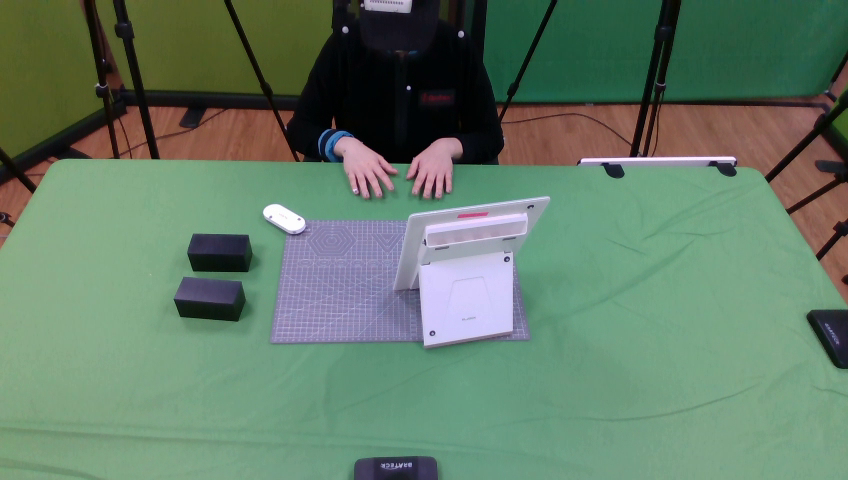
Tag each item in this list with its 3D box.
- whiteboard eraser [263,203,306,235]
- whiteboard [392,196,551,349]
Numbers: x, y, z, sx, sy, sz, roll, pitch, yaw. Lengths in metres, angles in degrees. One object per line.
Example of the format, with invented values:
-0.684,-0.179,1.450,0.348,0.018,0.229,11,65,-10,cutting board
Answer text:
-0.281,-0.043,1.216,0.101,0.019,0.041,29,53,25,whiteboard eraser
0.077,0.071,0.977,0.217,0.306,0.143,-7,67,-11,whiteboard
